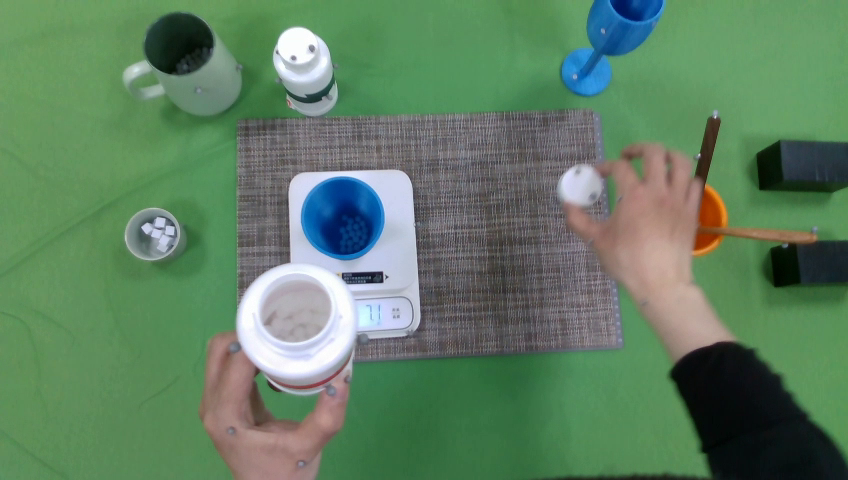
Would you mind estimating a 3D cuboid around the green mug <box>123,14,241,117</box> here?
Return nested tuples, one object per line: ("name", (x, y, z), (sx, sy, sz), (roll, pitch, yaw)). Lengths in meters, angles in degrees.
("green mug", (-0.285, -0.195, 0.708), (0.125, 0.105, 0.092), (-25, 82, -7))

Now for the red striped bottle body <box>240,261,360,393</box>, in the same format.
("red striped bottle body", (-0.070, 0.052, 0.351), (0.063, 0.120, 0.062), (3, 70, -8))

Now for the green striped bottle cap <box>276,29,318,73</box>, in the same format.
("green striped bottle cap", (-0.138, -0.205, 0.657), (0.044, 0.020, 0.044), (1, 79, -3))

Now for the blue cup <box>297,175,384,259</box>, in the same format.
("blue cup", (-0.087, -0.017, 0.656), (0.093, 0.100, 0.092), (1, 82, -5))

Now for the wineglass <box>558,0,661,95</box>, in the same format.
("wineglass", (0.210, -0.236, 0.708), (0.074, 0.172, 0.073), (0, 80, -2))

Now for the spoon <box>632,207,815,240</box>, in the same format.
("spoon", (0.333, -0.014, 0.691), (0.022, 0.192, 0.041), (14, 85, -45))

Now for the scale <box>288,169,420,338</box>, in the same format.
("scale", (-0.084, 0.015, 0.717), (0.149, 0.031, 0.200), (-4, 81, -4))

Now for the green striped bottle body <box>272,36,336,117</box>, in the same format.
("green striped bottle body", (-0.140, -0.195, 0.708), (0.063, 0.119, 0.063), (1, 79, -3))

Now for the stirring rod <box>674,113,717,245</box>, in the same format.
("stirring rod", (0.311, -0.064, 0.698), (0.014, 0.178, 0.006), (3, 39, 11))

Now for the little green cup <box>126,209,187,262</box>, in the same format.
("little green cup", (-0.309, -0.003, 0.707), (0.061, 0.039, 0.061), (1, 80, -4))

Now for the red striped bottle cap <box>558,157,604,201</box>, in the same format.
("red striped bottle cap", (0.161, -0.063, 0.620), (0.044, 0.018, 0.044), (0, 86, -3))
